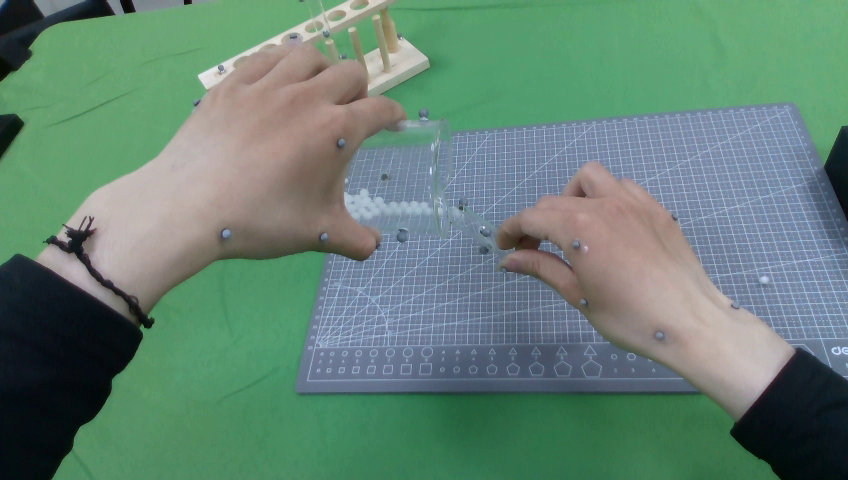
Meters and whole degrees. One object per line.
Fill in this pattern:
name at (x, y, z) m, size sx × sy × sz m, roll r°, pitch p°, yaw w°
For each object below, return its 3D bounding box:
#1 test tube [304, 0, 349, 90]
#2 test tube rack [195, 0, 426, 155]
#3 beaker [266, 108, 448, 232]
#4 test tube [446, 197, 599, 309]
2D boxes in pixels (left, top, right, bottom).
test tube at (-0.108, -0.224, 0.647) m, size 0.017 × 0.152 × 0.017 m, roll -7°, pitch 51°, yaw 9°
test tube rack at (-0.122, -0.200, 0.689) m, size 0.242 × 0.086 × 0.066 m, roll -31°, pitch 53°, yaw -12°
beaker at (-0.038, -0.043, 0.376) m, size 0.100 × 0.084 × 0.074 m, roll 2°, pitch 86°, yaw 8°
test tube at (0.074, 0.013, 0.427) m, size 0.017 × 0.151 × 0.017 m, roll -38°, pitch 34°, yaw 32°
